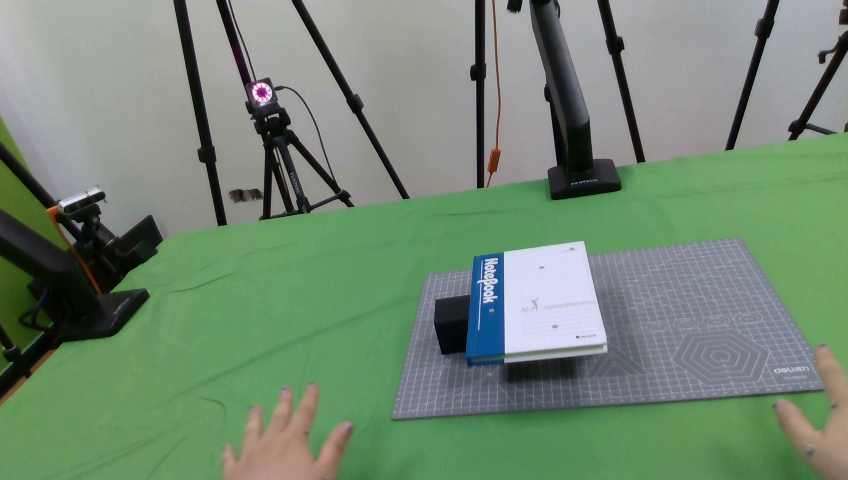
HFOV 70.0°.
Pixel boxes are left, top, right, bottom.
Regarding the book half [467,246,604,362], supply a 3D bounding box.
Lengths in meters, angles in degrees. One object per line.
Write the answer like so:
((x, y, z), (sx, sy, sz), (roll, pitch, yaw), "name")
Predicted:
((0.125, 0.069, 0.715), (0.143, 0.007, 0.208), (-8, 27, 11), "book half")

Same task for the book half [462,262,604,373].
((0.123, 0.076, 0.718), (0.148, 0.016, 0.208), (-8, 28, 12), "book half")
